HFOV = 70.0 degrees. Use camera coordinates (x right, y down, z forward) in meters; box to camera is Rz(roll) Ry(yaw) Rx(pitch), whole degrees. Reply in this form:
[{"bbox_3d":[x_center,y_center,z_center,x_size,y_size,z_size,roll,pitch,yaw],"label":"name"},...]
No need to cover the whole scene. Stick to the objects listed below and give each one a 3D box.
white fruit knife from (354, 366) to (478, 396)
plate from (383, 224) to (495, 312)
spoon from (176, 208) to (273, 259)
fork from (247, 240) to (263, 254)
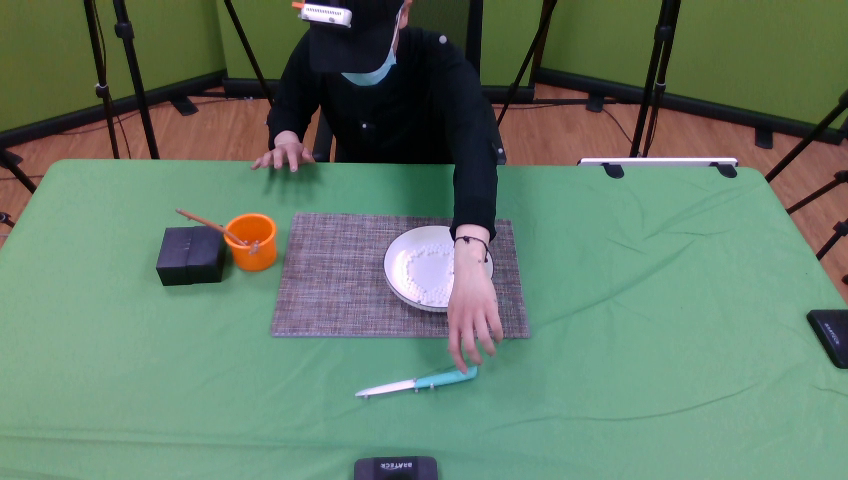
[{"bbox_3d":[-0.010,0.231,0.978,0.208,0.016,0.027,-9,19,-10],"label":"white fruit knife"},{"bbox_3d":[0.027,0.055,1.128,0.209,0.038,0.208,2,46,-2],"label":"plate"},{"bbox_3d":[-0.355,-0.011,1.088,0.041,0.195,0.021,22,78,54],"label":"spoon"},{"bbox_3d":[-0.301,0.011,1.075,0.028,0.207,0.018,4,90,-15],"label":"fork"}]
